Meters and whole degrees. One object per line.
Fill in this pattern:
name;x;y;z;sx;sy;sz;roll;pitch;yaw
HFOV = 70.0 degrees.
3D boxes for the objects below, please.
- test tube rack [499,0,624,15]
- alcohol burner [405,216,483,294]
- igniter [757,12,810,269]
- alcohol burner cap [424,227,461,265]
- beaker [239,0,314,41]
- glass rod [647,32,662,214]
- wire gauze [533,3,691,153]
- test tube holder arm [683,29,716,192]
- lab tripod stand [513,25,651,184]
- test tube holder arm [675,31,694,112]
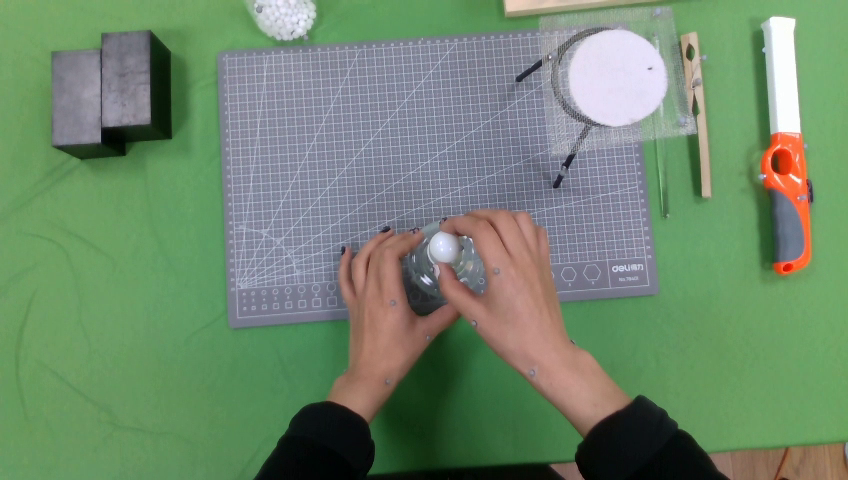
test tube rack;0.201;-0.301;0.635;0.242;0.085;0.066;-7;83;-1
alcohol burner;0.019;0.012;0.583;0.078;0.119;0.077;0;81;1
igniter;0.379;-0.107;0.644;0.057;0.025;0.275;2;84;-10
alcohol burner cap;0.016;0.003;0.522;0.034;0.048;0.034;0;82;0
beaker;-0.158;-0.257;0.622;0.084;0.100;0.074;14;83;2
glass rod;0.250;-0.127;0.655;0.008;0.008;0.199;-1;87;-1
wire gauze;0.160;-0.143;0.523;0.121;0.011;0.124;-6;83;1
test tube holder arm;0.294;-0.139;0.649;0.013;0.015;0.178;-12;81;36
lab tripod stand;0.150;-0.139;0.590;0.148;0.132;0.148;0;84;2
test tube holder arm;0.284;-0.182;0.657;0.010;0.015;0.087;-9;83;37
